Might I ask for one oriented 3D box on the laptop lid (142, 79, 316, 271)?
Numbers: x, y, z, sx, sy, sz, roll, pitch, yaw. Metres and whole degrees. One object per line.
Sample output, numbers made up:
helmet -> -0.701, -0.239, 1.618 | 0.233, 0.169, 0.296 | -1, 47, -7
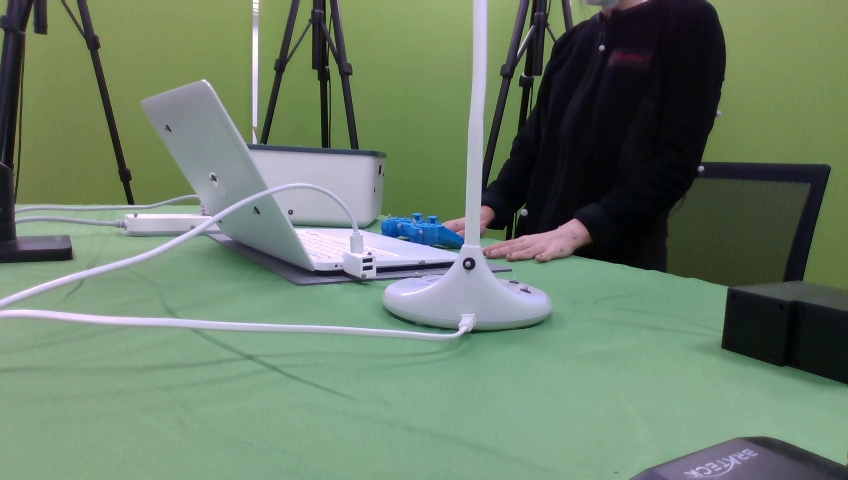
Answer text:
laptop lid -> -0.265, -0.082, 0.775 | 0.013, 0.242, 0.355 | -37, 28, -25

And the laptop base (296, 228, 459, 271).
laptop base -> -0.122, 0.011, 0.889 | 0.237, 0.023, 0.352 | 2, 6, -35

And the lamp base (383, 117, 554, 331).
lamp base -> 0.045, -0.019, 0.547 | 0.161, 0.180, 0.179 | 2, 10, -4

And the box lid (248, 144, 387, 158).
box lid -> -0.275, -0.197, 1.326 | 0.372, 0.015, 0.263 | 4, 8, 1

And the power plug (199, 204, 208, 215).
power plug -> -0.387, -0.055, 1.089 | 0.035, 0.052, 0.072 | -1, 6, -22

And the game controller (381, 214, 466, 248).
game controller -> -0.006, -0.017, 1.039 | 0.097, 0.051, 0.154 | -5, 10, -33

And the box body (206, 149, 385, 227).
box body -> -0.276, -0.124, 1.334 | 0.364, 0.160, 0.254 | 3, 7, 1

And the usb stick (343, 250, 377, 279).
usb stick -> -0.076, 0.026, 0.687 | 0.021, 0.027, 0.059 | -8, 9, -31

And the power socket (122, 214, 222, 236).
power socket -> -0.398, -0.028, 1.049 | 0.228, 0.032, 0.072 | -3, 8, -34
